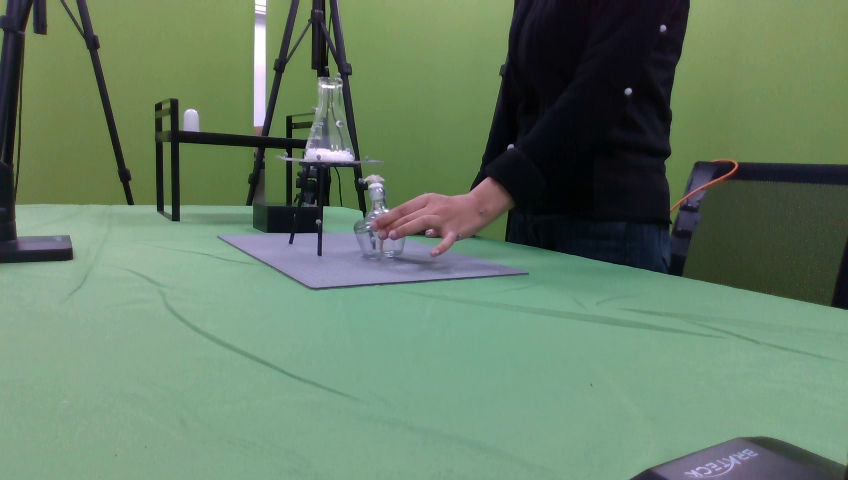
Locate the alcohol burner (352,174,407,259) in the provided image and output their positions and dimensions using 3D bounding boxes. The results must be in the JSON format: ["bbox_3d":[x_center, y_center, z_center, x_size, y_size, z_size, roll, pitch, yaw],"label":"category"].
[{"bbox_3d":[-0.064,-0.033,0.852,0.078,0.119,0.078,-6,4,1],"label":"alcohol burner"}]

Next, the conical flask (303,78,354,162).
[{"bbox_3d":[-0.140,-0.175,0.892,0.075,0.122,0.075,1,7,0],"label":"conical flask"}]

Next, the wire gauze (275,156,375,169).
[{"bbox_3d":[-0.142,-0.116,0.899,0.122,0.011,0.124,-1,5,-36],"label":"wire gauze"}]

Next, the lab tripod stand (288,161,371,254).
[{"bbox_3d":[-0.148,-0.052,0.908,0.148,0.131,0.148,1,8,0],"label":"lab tripod stand"}]

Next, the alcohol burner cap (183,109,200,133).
[{"bbox_3d":[-0.472,-0.241,1.229,0.034,0.048,0.034,3,8,0],"label":"alcohol burner cap"}]
